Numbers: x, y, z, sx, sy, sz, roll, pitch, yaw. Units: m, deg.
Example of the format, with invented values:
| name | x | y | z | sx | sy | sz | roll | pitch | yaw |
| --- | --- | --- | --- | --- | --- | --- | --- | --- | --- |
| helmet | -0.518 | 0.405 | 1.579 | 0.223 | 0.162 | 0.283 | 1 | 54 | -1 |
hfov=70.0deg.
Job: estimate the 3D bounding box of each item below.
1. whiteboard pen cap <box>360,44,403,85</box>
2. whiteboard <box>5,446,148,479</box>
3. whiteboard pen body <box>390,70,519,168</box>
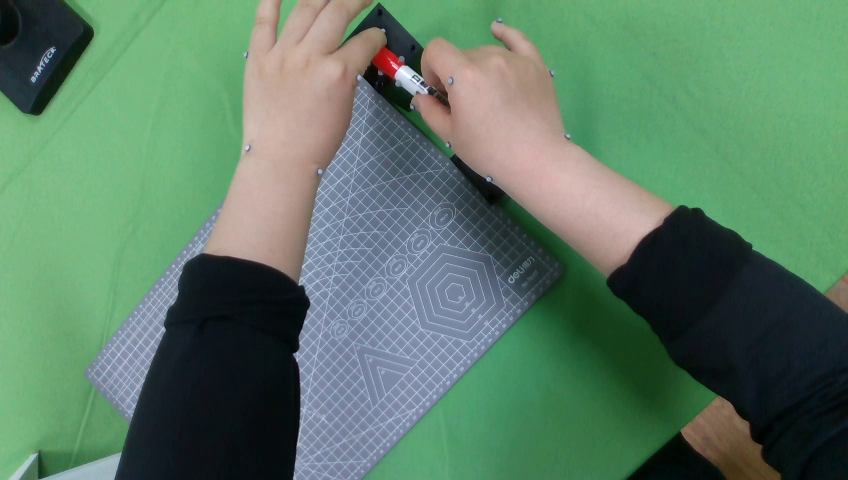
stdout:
| name | x | y | z | sx | sy | sz | roll | pitch | yaw |
| --- | --- | --- | --- | --- | --- | --- | --- | --- | --- |
| whiteboard pen cap | -0.033 | -0.138 | 0.476 | 0.032 | 0.017 | 0.017 | 41 | 100 | 5 |
| whiteboard | -0.450 | 0.330 | 0.581 | 0.143 | 0.307 | 0.217 | 7 | 95 | 31 |
| whiteboard pen body | 0.014 | -0.101 | 0.472 | 0.140 | 0.017 | 0.017 | 37 | 100 | 6 |
